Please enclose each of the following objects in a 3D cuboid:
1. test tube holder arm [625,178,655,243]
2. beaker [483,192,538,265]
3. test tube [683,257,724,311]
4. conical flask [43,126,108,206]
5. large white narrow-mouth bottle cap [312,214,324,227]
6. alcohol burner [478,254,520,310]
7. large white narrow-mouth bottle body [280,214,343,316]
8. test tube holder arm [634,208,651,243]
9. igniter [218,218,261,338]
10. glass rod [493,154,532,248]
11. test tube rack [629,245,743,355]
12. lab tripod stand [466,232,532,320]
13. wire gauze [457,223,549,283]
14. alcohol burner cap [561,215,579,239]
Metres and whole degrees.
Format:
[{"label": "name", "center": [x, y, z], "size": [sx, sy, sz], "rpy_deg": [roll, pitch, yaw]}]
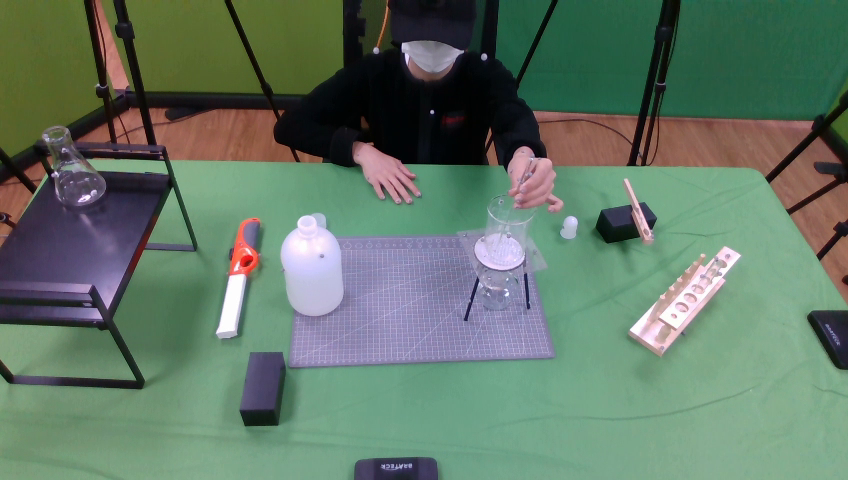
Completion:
[{"label": "test tube holder arm", "center": [0.433, -0.063, 1.220], "size": [0.013, 0.015, 0.177], "rpy_deg": [2, 47, -3]}, {"label": "beaker", "center": [0.137, -0.016, 0.980], "size": [0.084, 0.101, 0.073], "rpy_deg": [-6, 45, -9]}, {"label": "test tube", "center": [0.476, 0.080, 1.037], "size": [0.017, 0.151, 0.017], "rpy_deg": [1, 50, -1]}, {"label": "conical flask", "center": [-0.555, -0.119, 0.953], "size": [0.075, 0.122, 0.075], "rpy_deg": [2, 46, -2]}, {"label": "large white narrow-mouth bottle cap", "center": [-0.219, -0.033, 1.214], "size": [0.038, 0.024, 0.037], "rpy_deg": [2, 46, -2]}, {"label": "alcohol burner", "center": [0.134, 0.068, 1.071], "size": [0.078, 0.120, 0.077], "rpy_deg": [0, 47, 0]}, {"label": "large white narrow-mouth bottle body", "center": [-0.190, 0.035, 1.025], "size": [0.102, 0.195, 0.101], "rpy_deg": [2, 46, -2]}, {"label": "test tube holder arm", "center": [0.428, -0.030, 1.189], "size": [0.010, 0.015, 0.087], "rpy_deg": [3, 47, -3]}, {"label": "igniter", "center": [-0.337, 0.060, 1.111], "size": [0.057, 0.025, 0.274], "rpy_deg": [-8, 46, 4]}, {"label": "glass rod", "center": [0.133, -0.054, 0.917], "size": [0.008, 0.200, 0.008], "rpy_deg": [6, 48, -7]}, {"label": "test tube rack", "center": [0.474, 0.095, 1.091], "size": [0.242, 0.085, 0.066], "rpy_deg": [-34, 56, -31]}, {"label": "lab tripod stand", "center": [0.125, 0.059, 1.065], "size": [0.148, 0.132, 0.147], "rpy_deg": [1, 45, 0]}, {"label": "wire gauze", "center": [0.131, 0.016, 1.017], "size": [0.121, 0.011, 0.124], "rpy_deg": [-10, 44, -15]}, {"label": "alcohol burner cap", "center": [0.299, -0.030, 1.231], "size": [0.034, 0.048, 0.033], "rpy_deg": [1, 47, 0]}]
